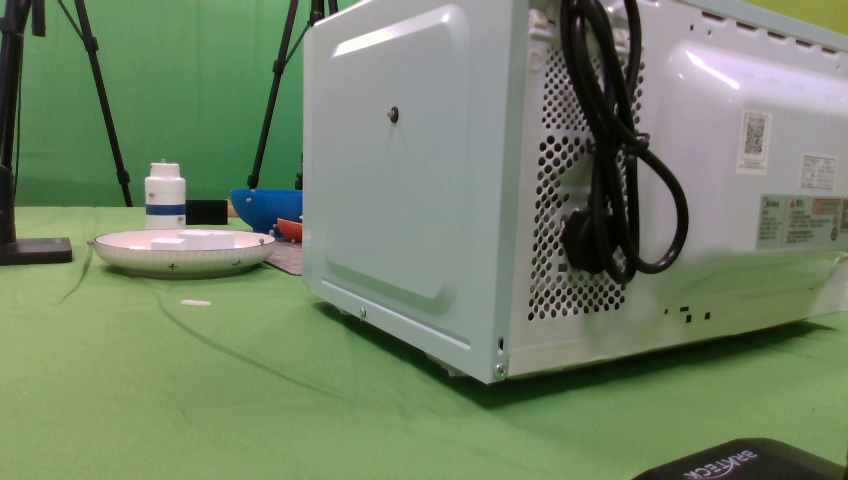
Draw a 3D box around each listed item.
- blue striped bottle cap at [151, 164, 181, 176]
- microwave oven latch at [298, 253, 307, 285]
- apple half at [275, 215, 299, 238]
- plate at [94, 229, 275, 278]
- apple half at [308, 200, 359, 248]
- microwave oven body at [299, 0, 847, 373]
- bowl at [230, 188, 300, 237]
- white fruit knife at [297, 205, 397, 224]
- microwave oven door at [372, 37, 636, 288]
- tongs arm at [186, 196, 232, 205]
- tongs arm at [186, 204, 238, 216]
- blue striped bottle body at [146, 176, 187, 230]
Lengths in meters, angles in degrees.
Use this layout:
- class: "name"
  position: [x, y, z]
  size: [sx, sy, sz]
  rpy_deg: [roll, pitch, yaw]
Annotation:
- class: "blue striped bottle cap"
  position: [-0.428, -0.116, 1.002]
  size: [0.044, 0.020, 0.044]
  rpy_deg: [1, 6, 0]
- class: "microwave oven latch"
  position: [-0.081, 0.027, 0.582]
  size: [0.079, 0.029, 0.030]
  rpy_deg: [-2, 7, -32]
- class: "apple half"
  position: [-0.201, -0.019, 0.981]
  size: [0.081, 0.033, 0.081]
  rpy_deg: [8, 10, -1]
- class: "plate"
  position: [-0.291, 0.016, 0.750]
  size: [0.208, 0.039, 0.207]
  rpy_deg: [2, 7, 0]
- class: "apple half"
  position: [-0.134, -0.023, 0.940]
  size: [0.053, 0.074, 0.081]
  rpy_deg: [18, 12, 41]
- class: "microwave oven body"
  position: [0.152, -0.055, 0.542]
  size: [0.444, 0.260, 0.324]
  rpy_deg: [-2, 7, -33]
- class: "bowl"
  position: [-0.265, -0.048, 1.066]
  size: [0.151, 0.077, 0.151]
  rpy_deg: [3, 8, 0]
- class: "white fruit knife"
  position: [-0.120, -0.041, 0.988]
  size: [0.016, 0.027, 0.208]
  rpy_deg: [12, 12, 42]
- class: "microwave oven door"
  position: [0.110, -0.080, 0.686]
  size: [0.358, 0.243, 0.039]
  rpy_deg: [-2, 9, -33]
- class: "tongs arm"
  position: [-0.404, -0.081, 1.479]
  size: [0.385, 0.026, 0.050]
  rpy_deg: [3, 8, -2]
- class: "tongs arm"
  position: [-0.396, -0.067, 1.399]
  size: [0.389, 0.028, 0.028]
  rpy_deg: [1, 5, -15]
- class: "blue striped bottle body"
  position: [-0.430, -0.065, 1.010]
  size: [0.063, 0.120, 0.063]
  rpy_deg: [2, 7, 0]
